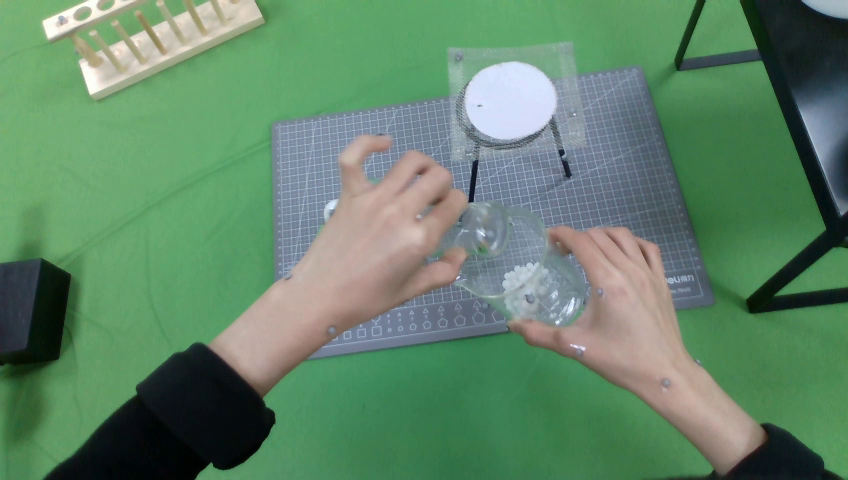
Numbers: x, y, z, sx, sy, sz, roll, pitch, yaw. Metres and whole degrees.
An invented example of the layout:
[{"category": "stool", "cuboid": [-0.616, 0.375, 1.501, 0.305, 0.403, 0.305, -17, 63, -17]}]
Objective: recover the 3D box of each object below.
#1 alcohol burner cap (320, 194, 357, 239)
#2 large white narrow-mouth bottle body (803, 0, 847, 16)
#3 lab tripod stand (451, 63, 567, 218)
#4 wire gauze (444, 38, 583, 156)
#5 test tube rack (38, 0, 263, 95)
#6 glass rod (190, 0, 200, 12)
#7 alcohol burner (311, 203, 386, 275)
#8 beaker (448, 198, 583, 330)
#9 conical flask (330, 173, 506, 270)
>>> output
[{"category": "alcohol burner cap", "cuboid": [-0.084, -0.025, 0.579, 0.034, 0.048, 0.033, -1, 60, 3]}, {"category": "large white narrow-mouth bottle body", "cuboid": [0.352, -0.266, 0.437, 0.102, 0.196, 0.101, -2, 66, 5]}, {"category": "lab tripod stand", "cuboid": [0.081, -0.106, 0.623, 0.148, 0.132, 0.147, -2, 66, 4]}, {"category": "wire gauze", "cuboid": [0.081, -0.137, 0.563, 0.121, 0.011, 0.124, -3, 68, 3]}, {"category": "test tube rack", "cuboid": [-0.340, -0.283, 0.768, 0.242, 0.086, 0.066, -27, 68, -5]}, {"category": "glass rod", "cuboid": [-0.303, -0.348, 0.718, 0.008, 0.201, 0.008, 0, 65, 1]}, {"category": "alcohol burner", "cuboid": [-0.079, -0.009, 0.612, 0.078, 0.120, 0.077, -1, 66, 3]}, {"category": "beaker", "cuboid": [0.076, 0.026, 0.477, 0.084, 0.101, 0.073, -31, 52, 17]}, {"category": "conical flask", "cuboid": [-0.002, -0.013, 0.435, 0.121, 0.076, 0.075, 2, 64, 37]}]
